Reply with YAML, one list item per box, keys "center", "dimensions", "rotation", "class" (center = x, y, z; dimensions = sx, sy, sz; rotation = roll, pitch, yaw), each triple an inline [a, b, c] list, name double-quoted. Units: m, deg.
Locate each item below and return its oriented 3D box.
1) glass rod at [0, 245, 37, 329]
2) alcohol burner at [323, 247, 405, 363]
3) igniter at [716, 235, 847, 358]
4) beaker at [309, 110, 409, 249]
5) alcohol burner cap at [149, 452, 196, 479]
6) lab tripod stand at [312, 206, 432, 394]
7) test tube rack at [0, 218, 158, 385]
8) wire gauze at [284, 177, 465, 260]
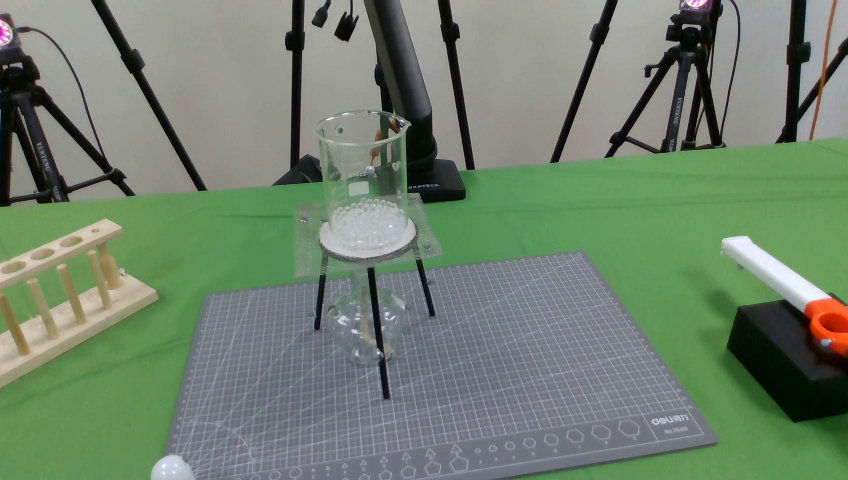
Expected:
- center: [-0.414, 0.002, 0.583]
  dimensions: [0.008, 0.201, 0.008]
  rotation: [-5, 25, 3]
  class: "glass rod"
- center: [-0.057, 0.057, 0.573]
  dimensions: [0.078, 0.120, 0.077]
  rotation: [0, 31, 0]
  class: "alcohol burner"
- center: [0.356, 0.065, 0.541]
  dimensions: [0.057, 0.025, 0.273]
  rotation: [-7, 29, -8]
  class: "igniter"
- center: [-0.050, -0.051, 0.510]
  dimensions: [0.084, 0.101, 0.073]
  rotation: [-18, 37, -26]
  class: "beaker"
- center: [-0.187, 0.178, 0.450]
  dimensions: [0.034, 0.048, 0.033]
  rotation: [1, 33, 0]
  class: "alcohol burner cap"
- center: [-0.048, 0.048, 0.569]
  dimensions: [0.148, 0.132, 0.147]
  rotation: [0, 33, 0]
  class: "lab tripod stand"
- center: [-0.399, 0.072, 0.595]
  dimensions: [0.066, 0.086, 0.242]
  rotation: [21, 38, 31]
  class: "test tube rack"
- center: [-0.046, -0.020, 0.523]
  dimensions: [0.125, 0.011, 0.120]
  rotation: [-14, 31, -27]
  class: "wire gauze"
